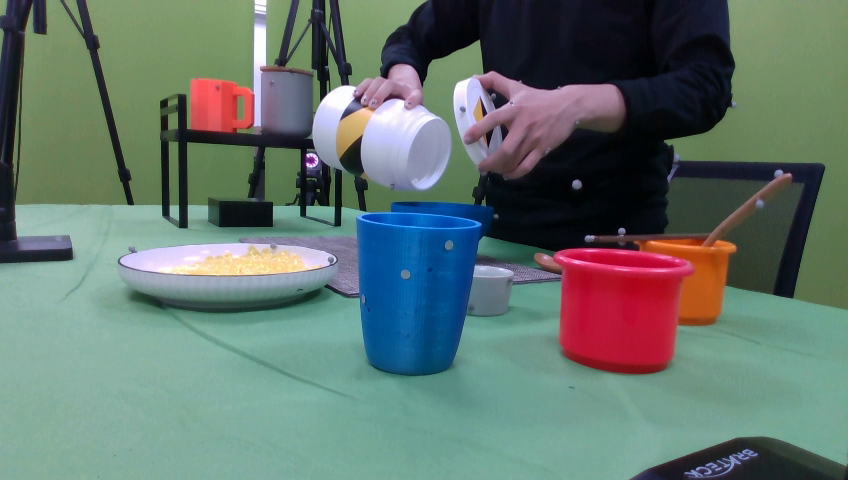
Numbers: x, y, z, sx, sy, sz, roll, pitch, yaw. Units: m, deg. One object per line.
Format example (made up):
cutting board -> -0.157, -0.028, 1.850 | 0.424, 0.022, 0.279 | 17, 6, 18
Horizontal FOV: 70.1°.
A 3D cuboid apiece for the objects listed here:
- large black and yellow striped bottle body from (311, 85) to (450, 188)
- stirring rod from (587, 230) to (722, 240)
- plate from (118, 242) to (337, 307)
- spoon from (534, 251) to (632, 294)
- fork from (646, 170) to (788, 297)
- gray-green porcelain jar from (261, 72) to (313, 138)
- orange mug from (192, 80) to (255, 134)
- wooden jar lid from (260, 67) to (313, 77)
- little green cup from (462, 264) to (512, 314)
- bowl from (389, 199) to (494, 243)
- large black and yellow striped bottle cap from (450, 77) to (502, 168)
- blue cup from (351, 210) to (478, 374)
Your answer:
large black and yellow striped bottle body -> -0.064, -0.154, 0.916 | 0.183, 0.130, 0.131 | 22, 17, 31
stirring rod -> 0.227, -0.005, 0.585 | 0.177, 0.006, 0.014 | -2, 7, -28
plate -> -0.194, 0.033, 0.615 | 0.209, 0.038, 0.209 | 2, 7, 0
spoon -> 0.193, 0.038, 0.753 | 0.042, 0.021, 0.193 | 14, 2, -21
fork -> 0.256, 0.004, 0.543 | 0.028, 0.018, 0.207 | 3, -37, -10
gray-green porcelain jar -> -0.284, -0.276, 1.253 | 0.106, 0.126, 0.106 | 2, 8, 0
orange mug -> -0.389, -0.257, 1.172 | 0.126, 0.100, 0.083 | -1, 7, 9
wooden jar lid -> -0.283, -0.339, 1.245 | 0.108, 0.020, 0.108 | 5, 9, -1
little green cup -> 0.053, 0.047, 0.580 | 0.061, 0.038, 0.061 | 3, 8, 0
bowl -> 0.024, -0.016, 0.872 | 0.151, 0.077, 0.151 | 2, 7, 0
large black and yellow striped bottle cap -> 0.069, -0.150, 0.771 | 0.018, 0.115, 0.115 | -14, -1, 28
blue cup -> -0.009, 0.034, 0.414 | 0.093, 0.100, 0.092 | 4, 8, 0
